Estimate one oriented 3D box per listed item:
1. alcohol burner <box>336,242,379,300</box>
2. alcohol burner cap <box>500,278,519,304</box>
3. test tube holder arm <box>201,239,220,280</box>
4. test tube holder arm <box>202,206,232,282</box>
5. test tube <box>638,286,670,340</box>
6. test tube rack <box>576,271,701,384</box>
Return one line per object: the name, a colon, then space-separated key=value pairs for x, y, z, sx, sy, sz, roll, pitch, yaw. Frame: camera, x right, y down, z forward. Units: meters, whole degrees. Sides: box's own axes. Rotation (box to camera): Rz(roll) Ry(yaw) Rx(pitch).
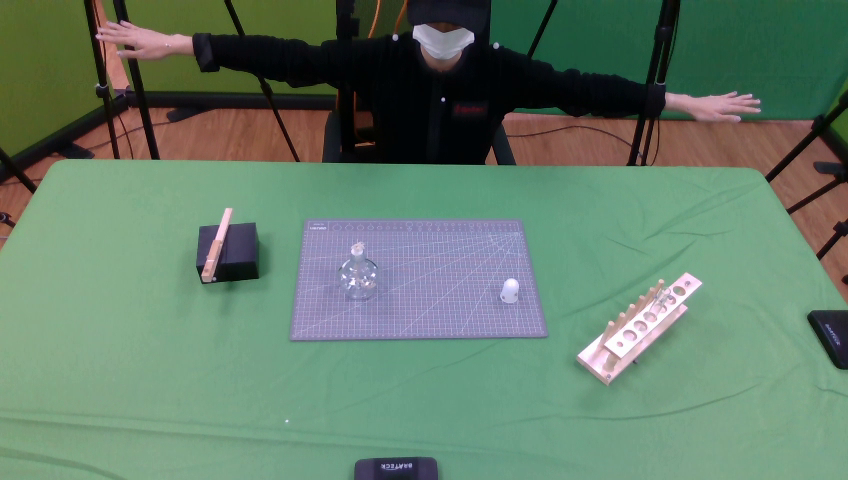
alcohol burner: x=-0.118 y=0.050 z=1.072 sx=0.078 sy=0.120 sz=0.077 roll=2 pitch=44 yaw=-1
alcohol burner cap: x=0.157 y=0.090 z=1.104 sx=0.034 sy=0.048 sz=0.033 roll=2 pitch=46 yaw=-2
test tube holder arm: x=-0.374 y=0.033 z=1.064 sx=0.015 sy=0.010 sz=0.087 roll=1 pitch=47 yaw=-1
test tube holder arm: x=-0.373 y=0.004 z=1.099 sx=0.015 sy=0.013 sz=0.177 roll=1 pitch=47 yaw=-1
test tube: x=0.373 y=0.122 z=0.994 sx=0.017 sy=0.151 sz=0.017 roll=0 pitch=51 yaw=0
test tube rack: x=0.373 y=0.138 z=1.047 sx=0.242 sy=0.085 sz=0.066 roll=-31 pitch=55 yaw=-29
